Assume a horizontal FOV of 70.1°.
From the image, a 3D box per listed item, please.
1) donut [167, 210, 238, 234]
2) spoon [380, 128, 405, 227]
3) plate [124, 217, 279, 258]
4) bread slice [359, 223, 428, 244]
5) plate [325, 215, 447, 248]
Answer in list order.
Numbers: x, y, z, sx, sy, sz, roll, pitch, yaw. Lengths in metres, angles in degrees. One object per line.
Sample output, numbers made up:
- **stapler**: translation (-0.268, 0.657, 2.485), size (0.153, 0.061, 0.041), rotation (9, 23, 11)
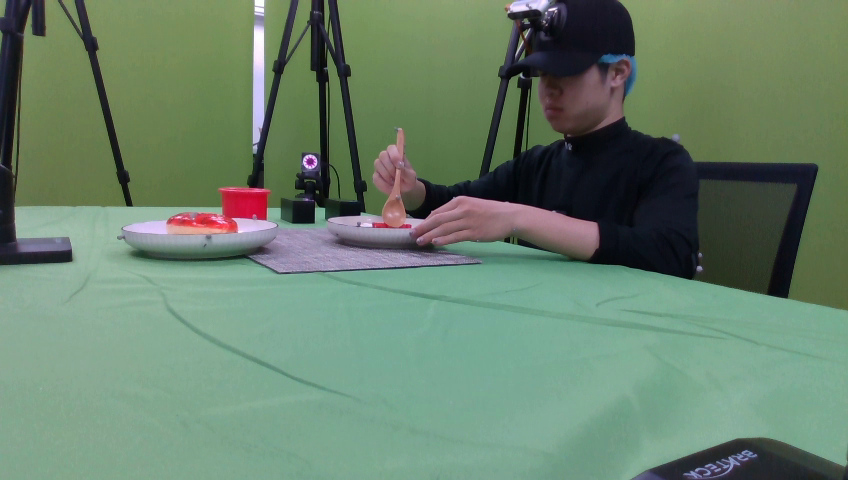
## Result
- **donut**: translation (-0.321, -0.017, 0.882), size (0.099, 0.048, 0.099), rotation (3, 6, 0)
- **spoon**: translation (-0.046, -0.110, 1.033), size (0.042, 0.193, 0.021), rotation (8, -19, -9)
- **plate**: translation (-0.315, -0.004, 0.871), size (0.208, 0.039, 0.207), rotation (1, 8, 0)
- **bread slice**: translation (-0.062, -0.012, 1.035), size (0.105, 0.019, 0.131), rotation (0, 10, -19)
- **plate**: translation (-0.065, -0.015, 1.035), size (0.209, 0.038, 0.209), rotation (3, 8, 0)
